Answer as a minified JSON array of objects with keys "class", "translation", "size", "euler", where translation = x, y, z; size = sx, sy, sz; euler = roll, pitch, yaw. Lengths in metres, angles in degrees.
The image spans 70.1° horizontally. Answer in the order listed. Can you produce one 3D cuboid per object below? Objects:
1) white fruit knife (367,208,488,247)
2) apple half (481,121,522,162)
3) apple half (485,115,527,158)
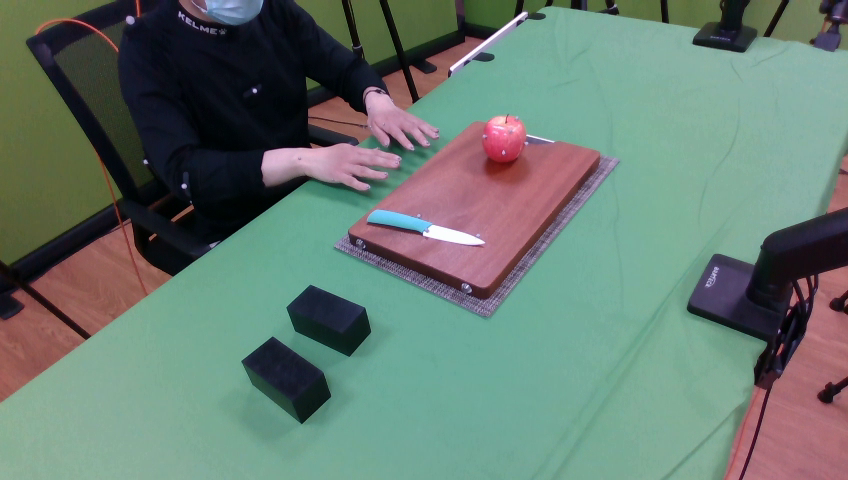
[{"class":"white fruit knife","translation":[0.004,-0.019,0.952],"size":[0.206,0.016,0.027],"euler":[15,75,21]},{"class":"apple half","translation":[0.130,-0.165,1.057],"size":[0.081,0.081,0.033],"euler":[16,42,25]},{"class":"apple half","translation":[0.149,-0.188,1.082],"size":[0.080,0.075,0.053],"euler":[13,40,28]}]
